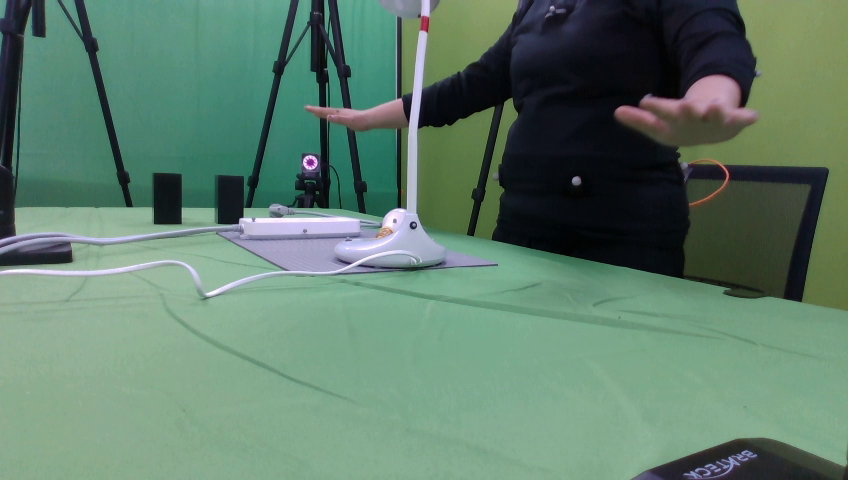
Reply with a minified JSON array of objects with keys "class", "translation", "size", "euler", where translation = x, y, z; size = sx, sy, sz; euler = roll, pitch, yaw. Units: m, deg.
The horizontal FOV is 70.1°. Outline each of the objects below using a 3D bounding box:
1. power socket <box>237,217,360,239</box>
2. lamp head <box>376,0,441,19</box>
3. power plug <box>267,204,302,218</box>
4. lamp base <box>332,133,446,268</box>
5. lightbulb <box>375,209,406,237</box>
[{"class":"power socket","translation":[-0.221,-0.023,1.080],"size":[0.228,0.032,0.072],"euler":[-2,8,-32]},{"class":"lamp head","translation":[-0.012,-0.373,0.822],"size":[0.113,0.112,0.122],"euler":[1,0,-14]},{"class":"power plug","translation":[-0.327,-0.059,1.403],"size":[0.073,0.035,0.052],"euler":[24,-16,-24]},{"class":"lamp base","translation":[-0.038,-0.058,0.833],"size":[0.161,0.180,0.178],"euler":[-2,11,-32]},{"class":"lightbulb","translation":[-0.053,-0.016,1.022],"size":[0.059,0.059,0.108],"euler":[6,23,21]}]
